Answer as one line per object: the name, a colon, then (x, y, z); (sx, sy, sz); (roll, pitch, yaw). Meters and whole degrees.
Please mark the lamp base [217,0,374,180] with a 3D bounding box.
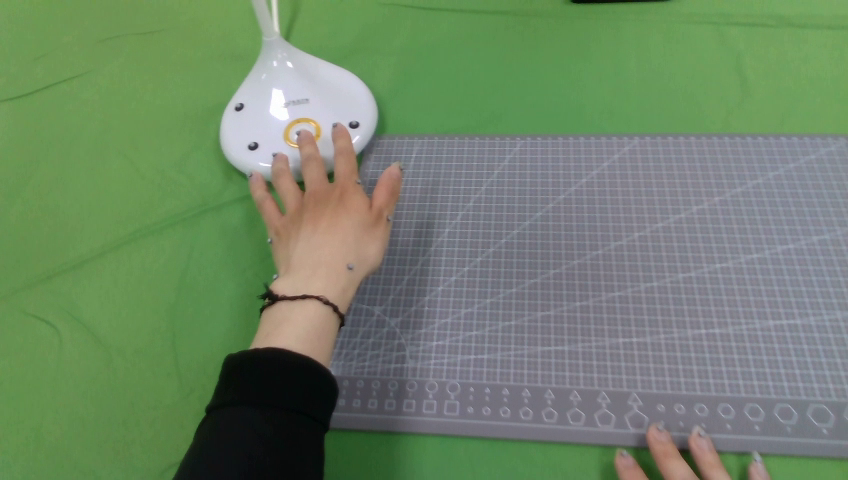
lamp base: (-0.144, -0.177, 0.562); (0.161, 0.182, 0.177); (-23, 52, -10)
